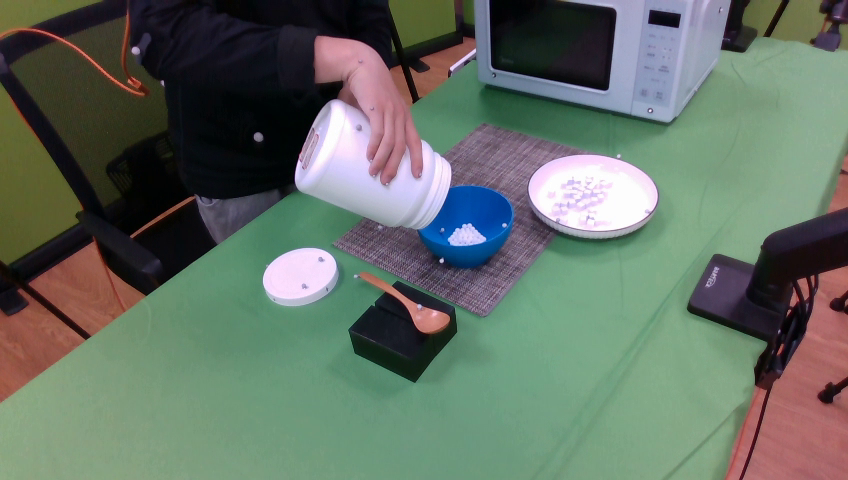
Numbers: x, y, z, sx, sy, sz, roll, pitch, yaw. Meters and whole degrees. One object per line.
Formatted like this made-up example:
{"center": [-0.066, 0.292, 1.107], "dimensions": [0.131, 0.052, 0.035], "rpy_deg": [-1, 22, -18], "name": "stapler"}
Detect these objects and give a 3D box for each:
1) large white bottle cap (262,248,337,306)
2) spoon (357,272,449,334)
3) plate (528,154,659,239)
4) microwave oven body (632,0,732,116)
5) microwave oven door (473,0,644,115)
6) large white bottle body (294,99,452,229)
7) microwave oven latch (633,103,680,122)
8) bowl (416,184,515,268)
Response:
{"center": [-0.193, 0.056, 0.934], "dimensions": [0.115, 0.018, 0.114], "rpy_deg": [-4, 41, 4], "name": "large white bottle cap"}
{"center": [-0.034, 0.078, 0.812], "dimensions": [0.042, 0.022, 0.192], "rpy_deg": [-34, 42, -24], "name": "spoon"}
{"center": [0.274, -0.069, 0.993], "dimensions": [0.209, 0.038, 0.208], "rpy_deg": [-2, 42, 2], "name": "plate"}
{"center": [0.377, -0.463, 1.267], "dimensions": [0.438, 0.261, 0.327], "rpy_deg": [21, 49, 30], "name": "microwave oven body"}
{"center": [0.257, -0.396, 1.199], "dimensions": [0.353, 0.245, 0.039], "rpy_deg": [21, 48, 29], "name": "microwave oven door"}
{"center": [-0.067, -0.095, 0.823], "dimensions": [0.186, 0.130, 0.130], "rpy_deg": [22, 33, -24], "name": "large white bottle body"}
{"center": [0.443, -0.249, 1.157], "dimensions": [0.078, 0.029, 0.030], "rpy_deg": [21, 49, 30], "name": "microwave oven latch"}
{"center": [0.063, -0.011, 0.922], "dimensions": [0.151, 0.077, 0.150], "rpy_deg": [-4, 40, 4], "name": "bowl"}
